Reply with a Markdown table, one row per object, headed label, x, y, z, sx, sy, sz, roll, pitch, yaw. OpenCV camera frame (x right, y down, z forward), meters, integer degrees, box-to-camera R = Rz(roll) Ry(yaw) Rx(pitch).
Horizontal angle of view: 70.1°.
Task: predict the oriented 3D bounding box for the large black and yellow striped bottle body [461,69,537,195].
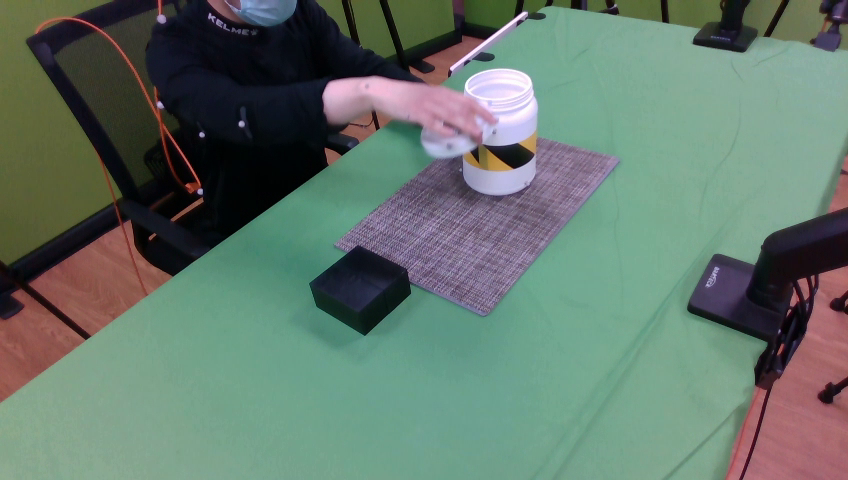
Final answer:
| label | x | y | z | sx | sy | sz | roll | pitch | yaw |
| --- | --- | --- | --- | --- | --- | --- | --- | --- | --- |
| large black and yellow striped bottle body | 0.127 | -0.185 | 1.035 | 0.131 | 0.185 | 0.130 | -4 | 41 | 4 |

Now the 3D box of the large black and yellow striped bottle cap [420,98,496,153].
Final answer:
| label | x | y | z | sx | sy | sz | roll | pitch | yaw |
| --- | --- | --- | --- | --- | --- | --- | --- | --- | --- |
| large black and yellow striped bottle cap | 0.050 | -0.171 | 0.892 | 0.115 | 0.019 | 0.114 | -15 | 40 | 14 |
